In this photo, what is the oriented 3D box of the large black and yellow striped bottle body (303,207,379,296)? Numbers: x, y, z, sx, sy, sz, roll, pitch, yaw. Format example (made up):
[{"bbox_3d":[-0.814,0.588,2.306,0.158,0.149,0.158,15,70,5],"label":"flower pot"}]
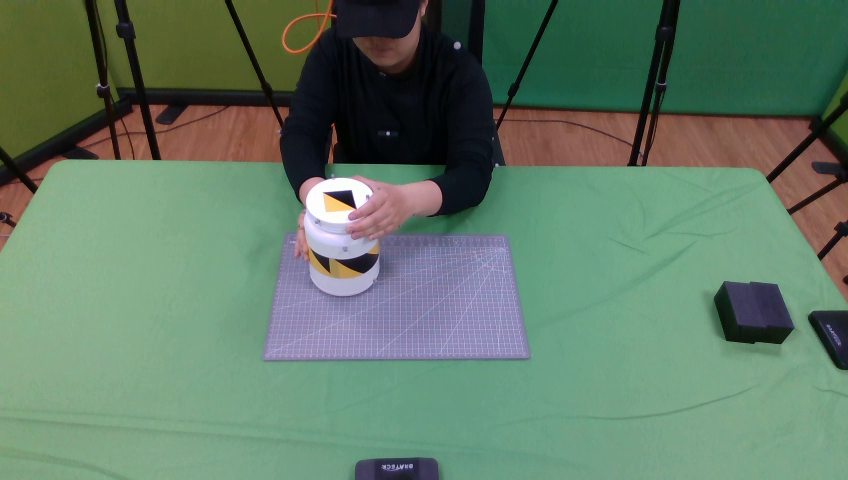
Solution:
[{"bbox_3d":[-0.145,-0.004,1.075,0.131,0.185,0.130,2,46,-2],"label":"large black and yellow striped bottle body"}]

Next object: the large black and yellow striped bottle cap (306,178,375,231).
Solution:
[{"bbox_3d":[-0.139,-0.062,1.014,0.115,0.019,0.114,1,47,-1],"label":"large black and yellow striped bottle cap"}]
